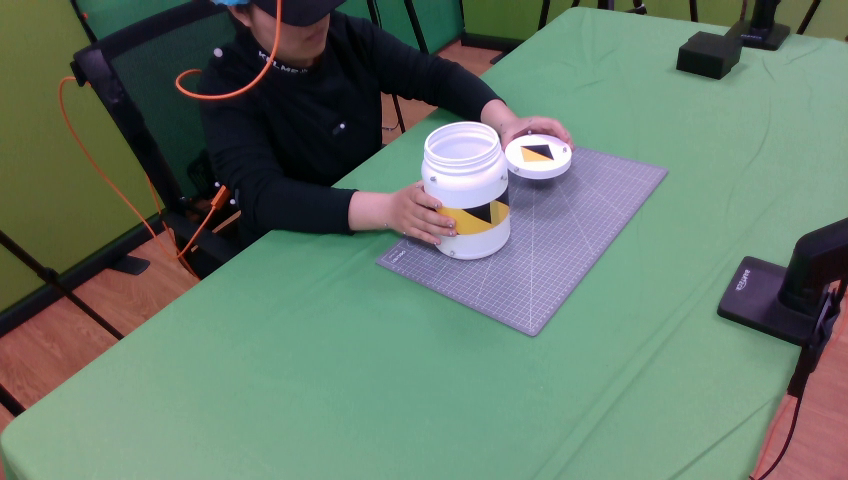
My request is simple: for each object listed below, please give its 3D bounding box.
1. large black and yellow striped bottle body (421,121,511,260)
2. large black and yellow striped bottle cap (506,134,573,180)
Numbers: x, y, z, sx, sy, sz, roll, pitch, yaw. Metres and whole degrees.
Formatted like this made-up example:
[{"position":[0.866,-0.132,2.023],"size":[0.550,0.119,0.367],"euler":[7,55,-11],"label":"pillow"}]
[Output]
[{"position":[0.065,-0.076,0.930],"size":[0.131,0.185,0.130],"euler":[-5,40,5],"label":"large black and yellow striped bottle body"},{"position":[0.198,-0.145,1.044],"size":[0.115,0.019,0.114],"euler":[-3,42,3],"label":"large black and yellow striped bottle cap"}]
